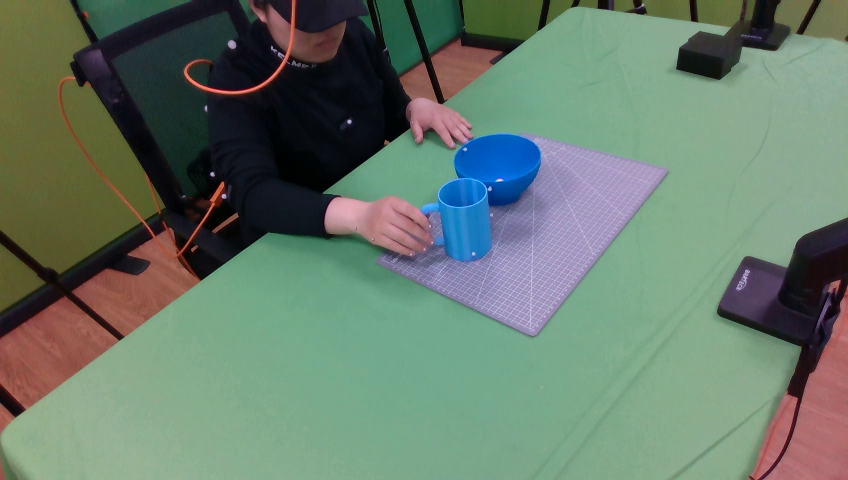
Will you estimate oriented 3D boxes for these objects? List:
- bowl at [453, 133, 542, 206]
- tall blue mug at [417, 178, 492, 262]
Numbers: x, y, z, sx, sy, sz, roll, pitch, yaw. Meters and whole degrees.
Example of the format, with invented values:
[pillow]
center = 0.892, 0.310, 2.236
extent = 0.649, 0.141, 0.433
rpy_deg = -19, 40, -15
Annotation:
[bowl]
center = 0.129, -0.112, 1.045
extent = 0.151, 0.077, 0.150
rpy_deg = -5, 40, 5
[tall blue mug]
center = 0.051, -0.025, 0.931
extent = 0.107, 0.108, 0.077
rpy_deg = -27, 44, -20
